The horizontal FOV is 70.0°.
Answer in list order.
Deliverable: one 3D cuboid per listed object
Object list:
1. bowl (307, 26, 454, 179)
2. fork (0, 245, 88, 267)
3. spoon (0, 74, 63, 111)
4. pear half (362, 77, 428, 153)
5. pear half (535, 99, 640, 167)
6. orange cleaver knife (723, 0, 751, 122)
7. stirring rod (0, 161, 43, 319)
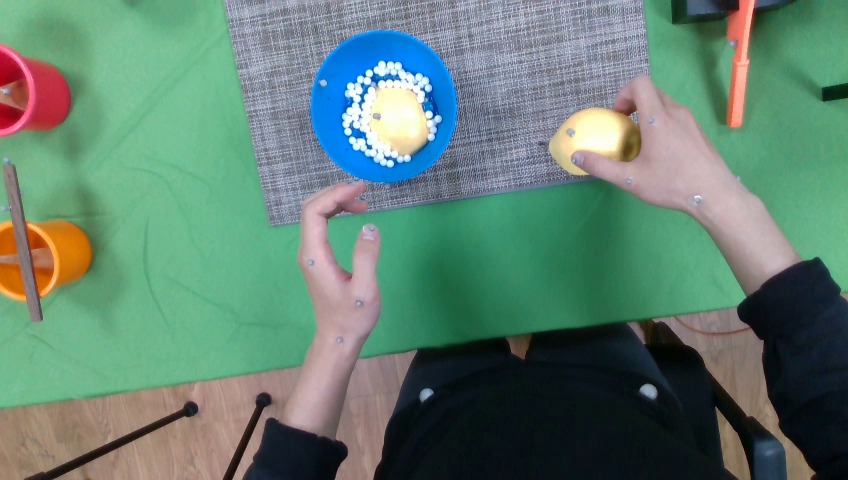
[{"bbox_3d":[-0.041,-0.142,0.645,0.151,0.076,0.152,1,100,5],"label":"bowl"},{"bbox_3d":[-0.492,0.017,0.674,0.209,0.018,0.028,2,112,-40],"label":"fork"},{"bbox_3d":[-0.499,-0.158,0.648,0.194,0.021,0.042,-11,104,-38],"label":"spoon"},{"bbox_3d":[-0.036,-0.136,0.639,0.070,0.031,0.088,-35,91,8],"label":"pear half"},{"bbox_3d":[0.155,-0.114,0.605,0.109,0.076,0.056,15,128,40],"label":"pear half"},{"bbox_3d":[0.313,-0.223,0.606,0.012,0.076,0.213,-5,128,11],"label":"orange cleaver knife"},{"bbox_3d":[-0.442,0.002,0.666,0.014,0.006,0.176,-4,100,2],"label":"stirring rod"}]
